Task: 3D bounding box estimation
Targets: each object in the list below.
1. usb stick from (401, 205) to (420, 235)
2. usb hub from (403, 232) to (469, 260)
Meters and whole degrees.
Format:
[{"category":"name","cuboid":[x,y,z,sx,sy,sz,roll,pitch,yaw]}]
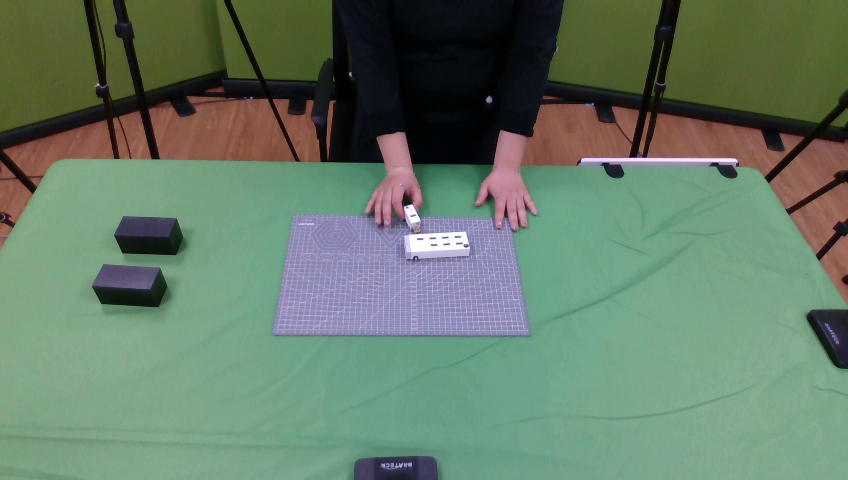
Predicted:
[{"category":"usb stick","cuboid":[-0.025,-0.040,1.224,0.021,0.027,0.059,-16,67,-19]},{"category":"usb hub","cuboid":[0.023,0.012,1.181,0.125,0.025,0.049,-3,46,-7]}]
